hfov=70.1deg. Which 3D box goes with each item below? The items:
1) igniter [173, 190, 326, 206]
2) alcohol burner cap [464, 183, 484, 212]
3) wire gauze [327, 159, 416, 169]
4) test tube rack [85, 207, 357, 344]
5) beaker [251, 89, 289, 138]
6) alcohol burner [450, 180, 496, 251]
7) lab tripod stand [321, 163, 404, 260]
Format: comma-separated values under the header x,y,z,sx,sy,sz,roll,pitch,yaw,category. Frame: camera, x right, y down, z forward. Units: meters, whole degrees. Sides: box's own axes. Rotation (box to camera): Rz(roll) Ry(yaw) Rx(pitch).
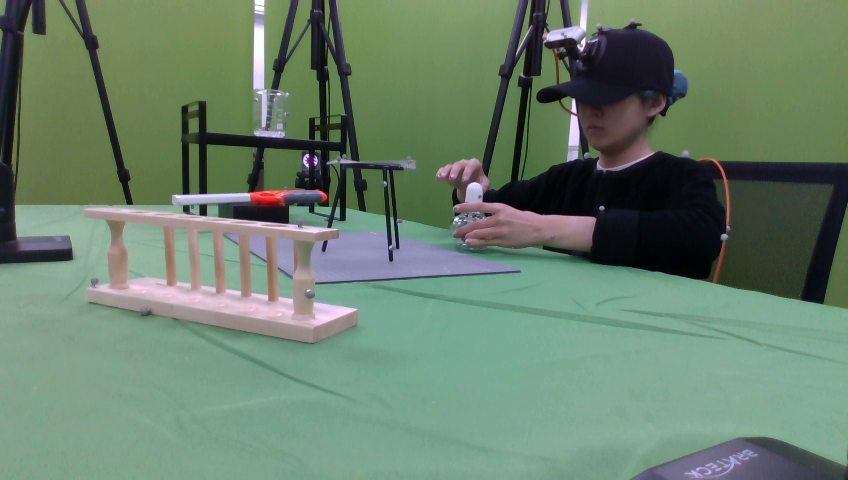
x,y,z,sx,sy,sz,roll,pitch,yaw,category
-0.317,-0.079,1.128,0.278,0.025,0.057,-4,13,-32,igniter
0.085,-0.072,1.011,0.034,0.048,0.034,2,9,0,alcohol burner cap
-0.072,-0.111,0.872,0.121,0.011,0.125,3,5,-2,wire gauze
-0.177,0.022,0.518,0.241,0.085,0.067,6,7,23,test tube rack
-0.334,-0.273,1.316,0.084,0.100,0.074,6,8,15,beaker
0.083,-0.041,1.016,0.078,0.119,0.078,4,8,0,alcohol burner
-0.076,-0.045,0.884,0.148,0.131,0.148,2,5,0,lab tripod stand
